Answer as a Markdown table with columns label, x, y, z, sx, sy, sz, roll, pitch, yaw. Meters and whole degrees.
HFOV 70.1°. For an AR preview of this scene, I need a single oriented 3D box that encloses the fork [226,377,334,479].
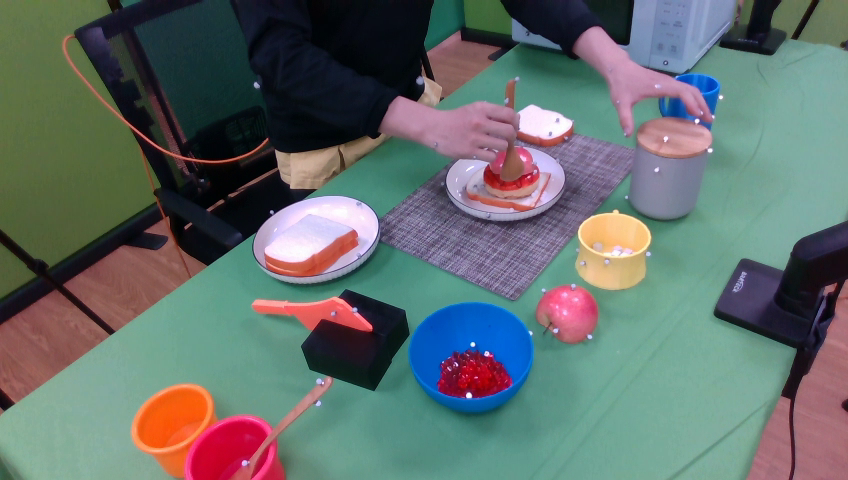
| label | x | y | z | sx | sy | sz | roll | pitch | yaw |
| --- | --- | --- | --- | --- | --- | --- | --- | --- | --- |
| fork | -0.163 | 0.216 | 0.647 | 0.207 | 0.019 | 0.028 | -49 | 41 | 16 |

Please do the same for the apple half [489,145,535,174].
| label | x | y | z | sx | sy | sz | roll | pitch | yaw |
| --- | --- | --- | --- | --- | --- | --- | --- | --- | --- |
| apple half | 0.145 | -0.138 | 0.995 | 0.081 | 0.033 | 0.081 | -1 | 34 | 1 |

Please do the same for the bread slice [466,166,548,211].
| label | x | y | z | sx | sy | sz | roll | pitch | yaw |
| --- | --- | --- | --- | --- | --- | --- | --- | --- | --- |
| bread slice | 0.141 | -0.089 | 1.048 | 0.134 | 0.018 | 0.107 | 12 | 41 | 14 |

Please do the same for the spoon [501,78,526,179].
| label | x | y | z | sx | sy | sz | roll | pitch | yaw |
| --- | --- | --- | --- | --- | --- | --- | --- | --- | --- |
| spoon | 0.127 | -0.156 | 0.880 | 0.042 | 0.195 | 0.021 | -15 | 48 | -3 |

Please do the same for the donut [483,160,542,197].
| label | x | y | z | sx | sy | sz | roll | pitch | yaw |
| --- | --- | --- | --- | --- | --- | --- | --- | --- | --- |
| donut | 0.148 | -0.110 | 1.016 | 0.099 | 0.048 | 0.098 | -4 | 41 | 4 |

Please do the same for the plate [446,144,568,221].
| label | x | y | z | sx | sy | sz | roll | pitch | yaw |
| --- | --- | --- | --- | --- | --- | --- | --- | --- | --- |
| plate | 0.142 | -0.097 | 1.045 | 0.207 | 0.039 | 0.206 | -4 | 40 | 4 |

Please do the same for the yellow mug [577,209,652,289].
| label | x | y | z | sx | sy | sz | roll | pitch | yaw |
| --- | --- | --- | --- | --- | --- | --- | --- | --- | --- |
| yellow mug | 0.279 | 0.004 | 0.893 | 0.099 | 0.064 | 0.130 | 5 | 42 | 14 |

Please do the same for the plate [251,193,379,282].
| label | x | y | z | sx | sy | sz | roll | pitch | yaw |
| --- | --- | --- | --- | --- | --- | --- | --- | --- | --- |
| plate | -0.174 | -0.001 | 0.984 | 0.209 | 0.038 | 0.208 | -4 | 40 | 4 |

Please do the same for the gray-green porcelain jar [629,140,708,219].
| label | x | y | z | sx | sy | sz | roll | pitch | yaw |
| --- | --- | --- | --- | --- | --- | --- | --- | --- | --- |
| gray-green porcelain jar | 0.383 | -0.105 | 0.958 | 0.106 | 0.127 | 0.105 | -4 | 41 | 4 |

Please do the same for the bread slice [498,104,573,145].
| label | x | y | z | sx | sy | sz | roll | pitch | yaw |
| --- | --- | --- | --- | --- | --- | --- | --- | --- | --- |
| bread slice | 0.231 | -0.231 | 1.205 | 0.105 | 0.019 | 0.130 | -36 | 47 | -29 |

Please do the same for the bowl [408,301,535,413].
| label | x | y | z | sx | sy | sz | roll | pitch | yaw |
| --- | --- | --- | --- | --- | --- | --- | --- | --- | --- |
| bowl | 0.060 | 0.156 | 0.739 | 0.151 | 0.077 | 0.150 | -4 | 40 | 4 |

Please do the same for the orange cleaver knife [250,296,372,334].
| label | x | y | z | sx | sy | sz | roll | pitch | yaw |
| --- | --- | --- | --- | --- | --- | --- | --- | --- | --- |
| orange cleaver knife | -0.158 | 0.103 | 0.828 | 0.210 | 0.078 | 0.012 | -4 | 43 | 39 |

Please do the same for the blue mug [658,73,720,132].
| label | x | y | z | sx | sy | sz | roll | pitch | yaw |
| --- | --- | --- | --- | --- | --- | --- | --- | --- | --- |
| blue mug | 0.483 | -0.250 | 1.127 | 0.082 | 0.106 | 0.115 | -26 | 44 | -19 |

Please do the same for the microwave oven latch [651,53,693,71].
| label | x | y | z | sx | sy | sz | roll | pitch | yaw |
| --- | --- | --- | --- | --- | --- | --- | --- | --- | --- |
| microwave oven latch | 0.532 | -0.387 | 1.301 | 0.078 | 0.029 | 0.030 | 28 | 53 | 35 |

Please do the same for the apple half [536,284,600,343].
| label | x | y | z | sx | sy | sz | roll | pitch | yaw |
| --- | --- | --- | --- | --- | --- | --- | --- | --- | --- |
| apple half | 0.196 | 0.091 | 0.815 | 0.075 | 0.053 | 0.080 | -22 | 42 | -20 |

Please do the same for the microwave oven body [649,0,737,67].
| label | x | y | z | sx | sy | sz | roll | pitch | yaw |
| --- | --- | --- | --- | --- | --- | --- | --- | --- | --- |
| microwave oven body | 0.475 | -0.602 | 1.411 | 0.438 | 0.261 | 0.327 | 23 | 50 | 32 |

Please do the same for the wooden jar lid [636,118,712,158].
| label | x | y | z | sx | sy | sz | roll | pitch | yaw |
| --- | --- | --- | --- | --- | --- | --- | --- | --- | --- |
| wooden jar lid | 0.376 | -0.151 | 0.917 | 0.108 | 0.021 | 0.108 | -2 | 41 | 2 |

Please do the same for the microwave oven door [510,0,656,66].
| label | x | y | z | sx | sy | sz | roll | pitch | yaw |
| --- | --- | --- | --- | --- | --- | --- | --- | --- | --- |
| microwave oven door | 0.350 | -0.539 | 1.348 | 0.353 | 0.245 | 0.039 | 24 | 50 | 31 |
